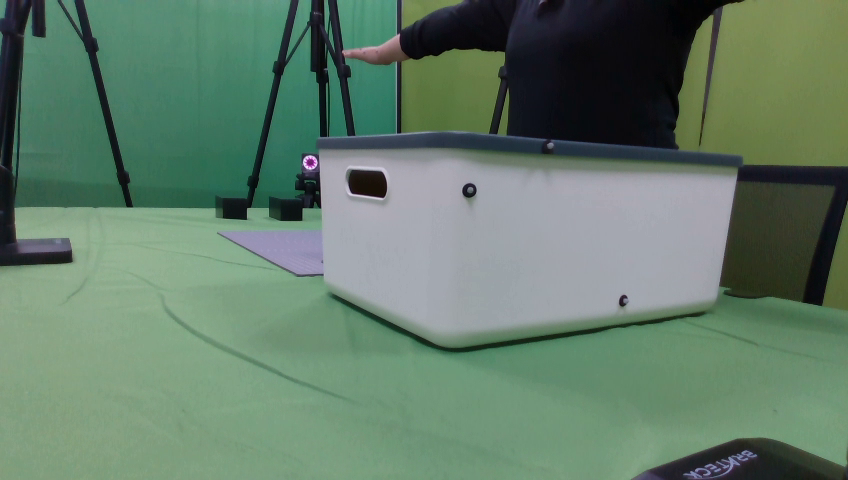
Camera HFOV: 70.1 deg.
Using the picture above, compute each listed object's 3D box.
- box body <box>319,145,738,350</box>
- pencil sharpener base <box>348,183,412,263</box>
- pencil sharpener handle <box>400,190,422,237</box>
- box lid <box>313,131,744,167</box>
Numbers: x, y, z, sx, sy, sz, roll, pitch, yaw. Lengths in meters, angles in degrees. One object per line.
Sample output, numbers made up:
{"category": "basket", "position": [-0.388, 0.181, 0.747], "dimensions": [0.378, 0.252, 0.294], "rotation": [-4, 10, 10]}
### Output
{"category": "box body", "position": [0.100, -0.013, 0.611], "dimensions": [0.366, 0.160, 0.253], "rotation": [-2, 8, -33]}
{"category": "pencil sharpener base", "position": [-0.059, -0.024, 0.846], "dimensions": [0.077, 0.107, 0.061], "rotation": [-1, 7, -30]}
{"category": "pencil sharpener handle", "position": [-0.016, -0.038, 0.872], "dimensions": [0.031, 0.067, 0.036], "rotation": [-1, 16, -30]}
{"category": "box lid", "position": [0.101, -0.085, 0.602], "dimensions": [0.373, 0.015, 0.262], "rotation": [-2, 8, -32]}
